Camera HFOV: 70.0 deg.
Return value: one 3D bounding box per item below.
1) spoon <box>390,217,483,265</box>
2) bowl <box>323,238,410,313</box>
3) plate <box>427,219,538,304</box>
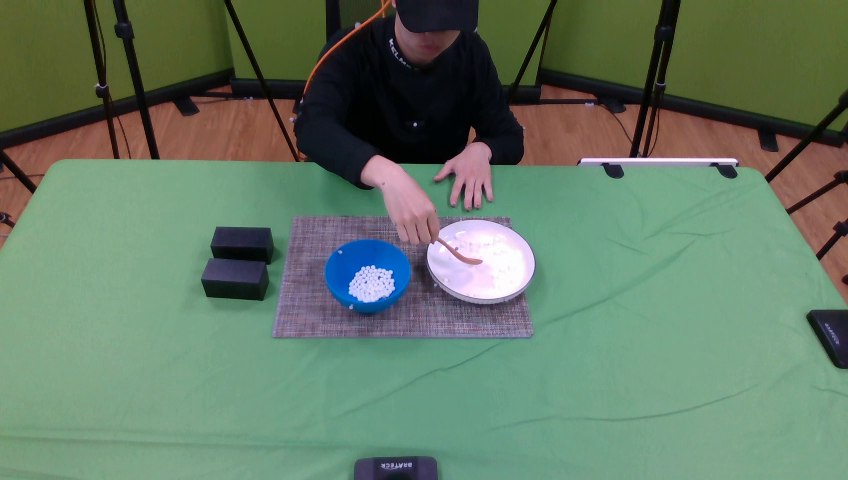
[{"bbox_3d":[0.024,0.001,1.100,0.194,0.021,0.041,30,6,-17],"label":"spoon"},{"bbox_3d":[-0.101,0.077,1.073,0.151,0.077,0.150,2,46,-2],"label":"bowl"},{"bbox_3d":[0.109,0.044,1.149,0.208,0.039,0.206,2,46,-2],"label":"plate"}]
